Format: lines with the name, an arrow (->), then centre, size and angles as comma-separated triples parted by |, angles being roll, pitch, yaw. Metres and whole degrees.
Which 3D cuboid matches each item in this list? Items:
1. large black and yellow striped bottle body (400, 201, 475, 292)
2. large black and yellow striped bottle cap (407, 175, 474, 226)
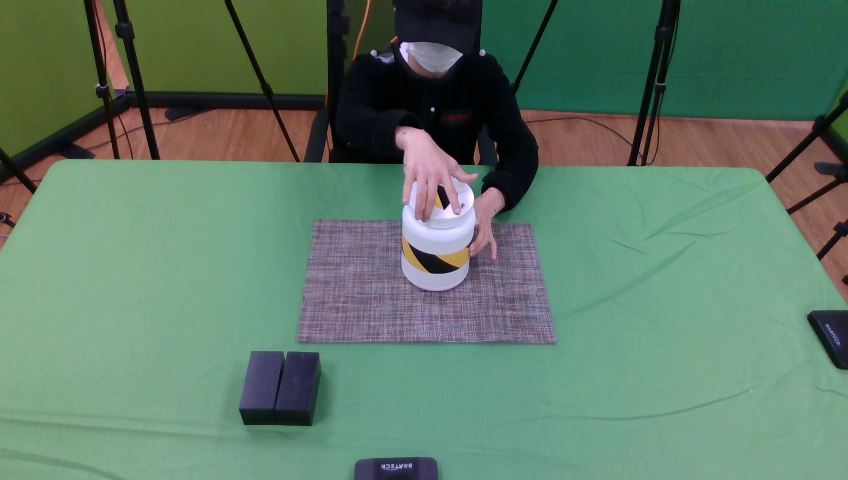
large black and yellow striped bottle body -> 0.023, -0.010, 1.093 | 0.131, 0.185, 0.130 | 2, 46, -2
large black and yellow striped bottle cap -> 0.028, -0.069, 1.032 | 0.115, 0.019, 0.114 | 1, 45, -1
